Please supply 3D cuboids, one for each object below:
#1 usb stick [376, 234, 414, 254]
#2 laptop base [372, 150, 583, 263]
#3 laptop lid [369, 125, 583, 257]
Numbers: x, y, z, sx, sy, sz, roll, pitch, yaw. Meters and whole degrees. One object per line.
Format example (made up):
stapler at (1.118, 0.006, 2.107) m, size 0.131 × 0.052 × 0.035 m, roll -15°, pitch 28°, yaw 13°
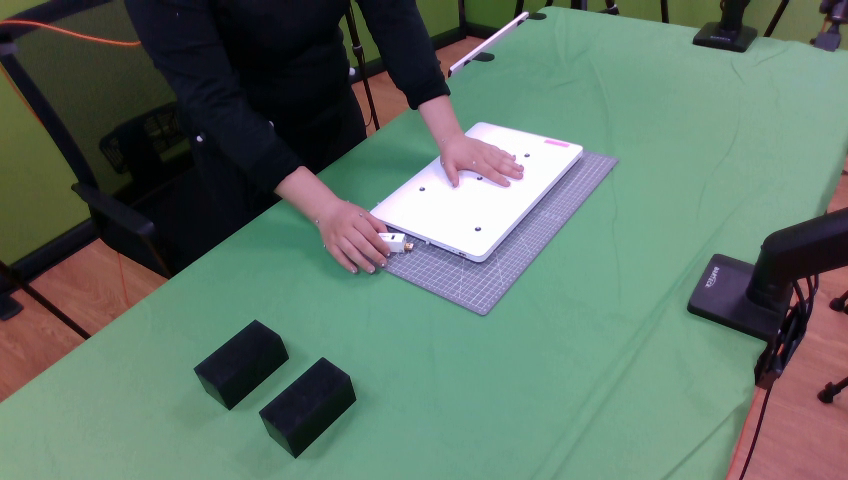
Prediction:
usb stick at (-0.046, 0.006, 0.962) m, size 0.059 × 0.027 × 0.021 m, roll 6°, pitch 39°, yaw 9°
laptop base at (0.101, -0.096, 1.071) m, size 0.233 × 0.023 × 0.355 m, roll 19°, pitch 47°, yaw 33°
laptop lid at (0.098, -0.104, 1.066) m, size 0.239 × 0.013 × 0.358 m, roll 21°, pitch 47°, yaw 34°
